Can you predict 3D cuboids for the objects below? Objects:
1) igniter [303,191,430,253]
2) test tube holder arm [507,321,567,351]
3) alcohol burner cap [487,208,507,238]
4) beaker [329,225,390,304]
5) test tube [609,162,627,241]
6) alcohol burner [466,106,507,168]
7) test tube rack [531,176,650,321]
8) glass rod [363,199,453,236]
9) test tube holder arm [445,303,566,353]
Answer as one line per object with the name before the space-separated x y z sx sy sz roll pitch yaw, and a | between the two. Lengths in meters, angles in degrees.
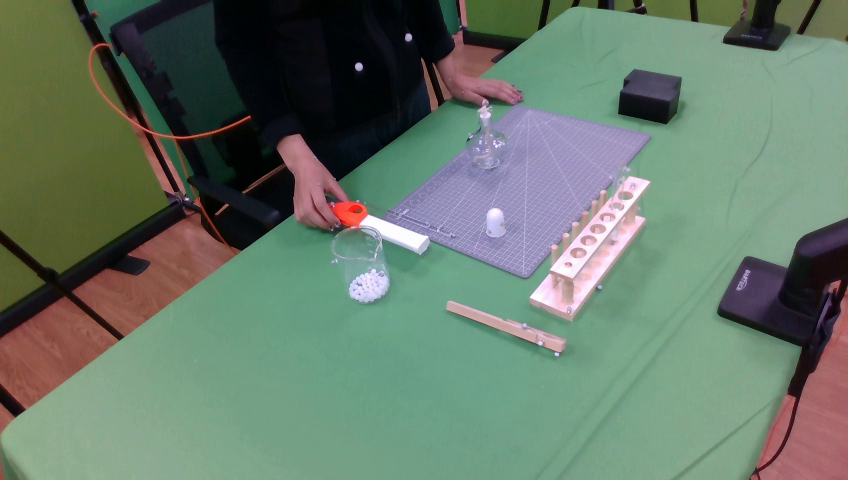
igniter | -0.107 -0.034 1.014 0.274 0.025 0.057 21 54 32
test tube holder arm | 0.148 0.128 0.808 0.087 0.015 0.010 16 11 28
alcohol burner cap | 0.116 -0.030 0.975 0.034 0.048 0.033 -6 40 5
beaker | -0.089 0.040 0.890 0.074 0.101 0.083 -32 45 -24
test tube | 0.277 -0.051 0.864 0.017 0.151 0.017 -6 47 7
alcohol burner | 0.114 -0.193 1.112 0.078 0.119 0.077 -4 41 4
test tube rack | 0.246 0.002 0.884 0.066 0.085 0.243 22 49 32
glass rod | -0.031 -0.041 1.041 0.198 0.008 0.008 22 50 31
test tube holder arm | 0.107 0.117 0.824 0.177 0.015 0.013 16 11 27
